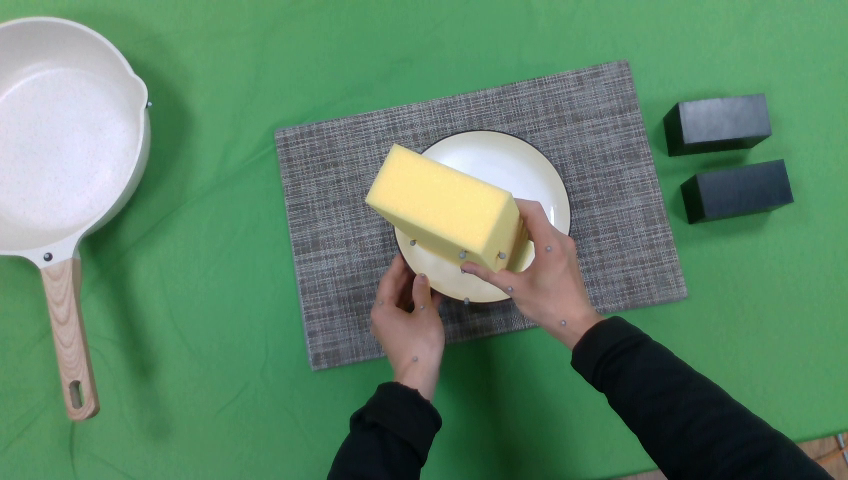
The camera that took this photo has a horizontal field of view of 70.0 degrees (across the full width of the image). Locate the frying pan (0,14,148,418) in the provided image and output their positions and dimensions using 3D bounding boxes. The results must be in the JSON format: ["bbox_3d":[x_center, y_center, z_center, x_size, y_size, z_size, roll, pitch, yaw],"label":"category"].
[{"bbox_3d":[-0.440,-0.030,0.710,0.307,0.103,0.484,-19,73,1],"label":"frying pan"}]

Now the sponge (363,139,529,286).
[{"bbox_3d":[0.034,-0.019,0.615,0.117,0.208,0.061,24,84,19],"label":"sponge"}]

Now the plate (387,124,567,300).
[{"bbox_3d":[0.061,-0.032,0.715,0.207,0.039,0.207,0,82,3],"label":"plate"}]
